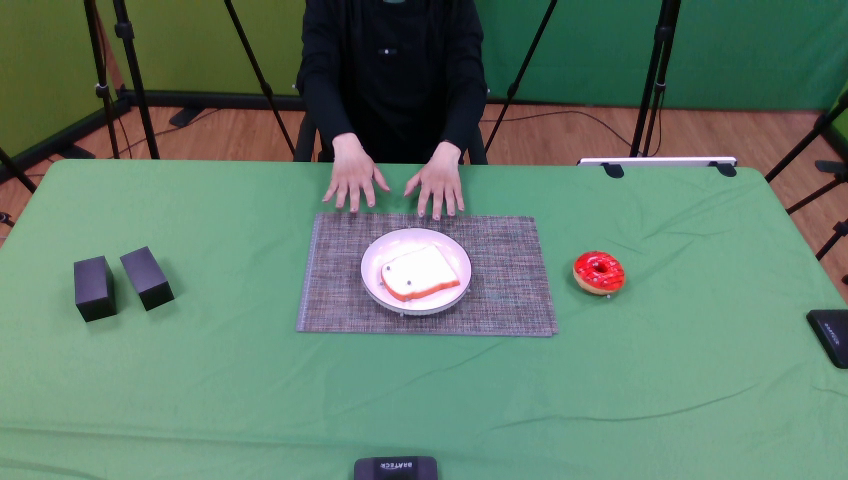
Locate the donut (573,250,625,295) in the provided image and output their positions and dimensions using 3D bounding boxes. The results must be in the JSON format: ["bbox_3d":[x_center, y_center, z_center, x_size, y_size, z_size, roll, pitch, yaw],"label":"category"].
[{"bbox_3d":[0.332,0.062,1.149,0.099,0.048,0.098,4,45,-4],"label":"donut"}]

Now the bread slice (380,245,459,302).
[{"bbox_3d":[-0.014,0.063,1.122,0.132,0.019,0.104,-18,49,-21],"label":"bread slice"}]

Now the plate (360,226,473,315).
[{"bbox_3d":[-0.013,0.059,1.124,0.208,0.039,0.206,2,46,-2],"label":"plate"}]
